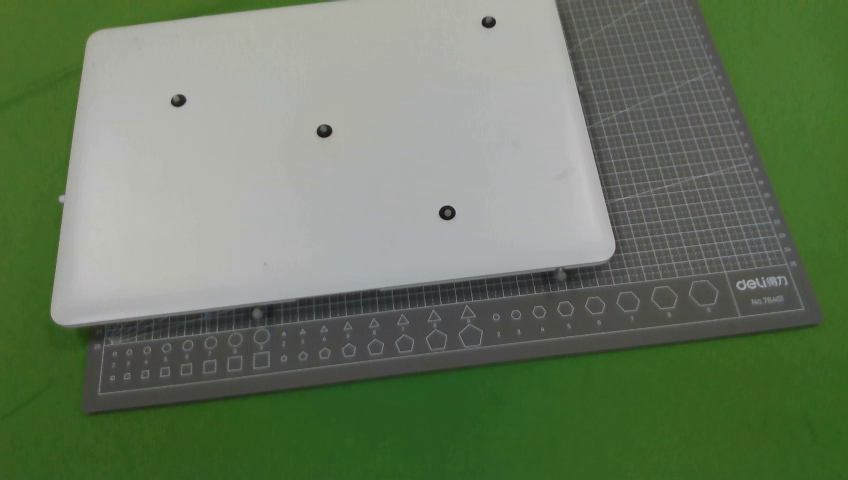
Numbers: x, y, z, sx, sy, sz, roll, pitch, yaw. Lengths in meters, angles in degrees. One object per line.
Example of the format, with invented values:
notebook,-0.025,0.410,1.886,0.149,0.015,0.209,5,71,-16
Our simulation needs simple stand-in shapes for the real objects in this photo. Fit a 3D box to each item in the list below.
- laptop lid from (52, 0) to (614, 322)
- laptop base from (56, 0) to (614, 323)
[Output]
laptop lid,-0.067,-0.076,0.413,0.357,0.013,0.240,-5,68,0
laptop base,-0.066,-0.073,0.425,0.354,0.023,0.233,-7,70,-1
